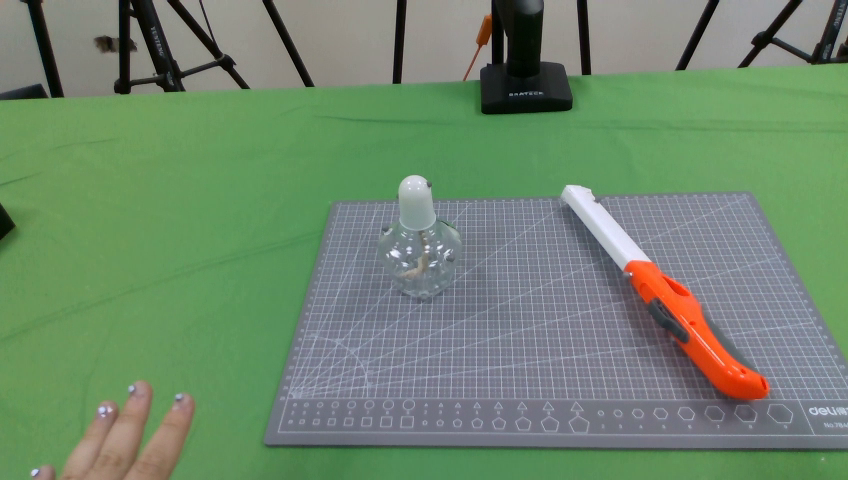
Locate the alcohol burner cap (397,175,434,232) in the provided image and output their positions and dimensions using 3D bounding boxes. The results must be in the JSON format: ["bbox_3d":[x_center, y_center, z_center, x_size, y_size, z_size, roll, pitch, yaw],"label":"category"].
[{"bbox_3d":[-0.008,-0.034,0.515,0.034,0.048,0.033,-1,44,2],"label":"alcohol burner cap"}]

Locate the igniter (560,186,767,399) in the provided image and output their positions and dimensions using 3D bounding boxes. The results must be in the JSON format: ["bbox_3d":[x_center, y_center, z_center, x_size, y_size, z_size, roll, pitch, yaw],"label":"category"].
[{"bbox_3d":[0.196,0.031,0.536,0.057,0.025,0.273,4,34,-23],"label":"igniter"}]

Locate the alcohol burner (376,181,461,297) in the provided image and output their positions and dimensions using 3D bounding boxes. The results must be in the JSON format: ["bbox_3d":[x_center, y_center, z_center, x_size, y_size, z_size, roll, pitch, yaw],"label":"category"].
[{"bbox_3d":[-0.006,-0.006,0.539,0.078,0.120,0.077,-2,42,2],"label":"alcohol burner"}]
